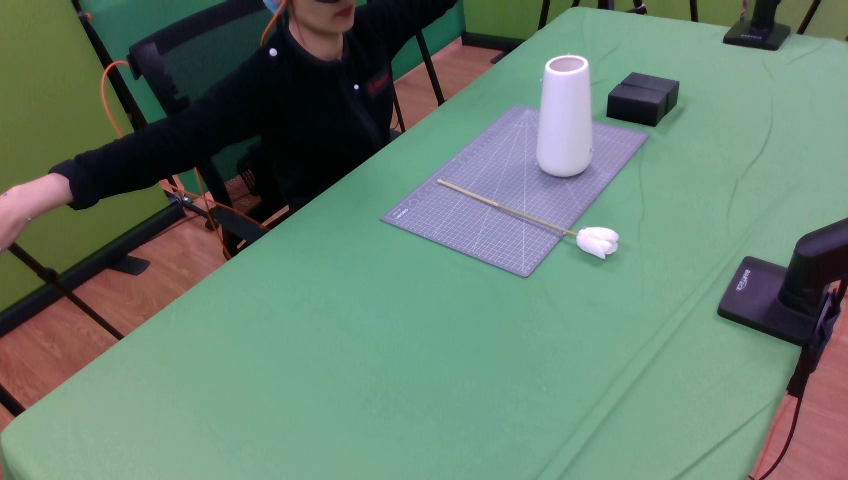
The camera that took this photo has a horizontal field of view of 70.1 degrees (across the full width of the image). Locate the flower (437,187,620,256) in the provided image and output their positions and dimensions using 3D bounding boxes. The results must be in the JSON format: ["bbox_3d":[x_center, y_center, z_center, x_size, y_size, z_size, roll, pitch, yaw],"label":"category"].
[{"bbox_3d":[0.156,-0.045,1.011,0.358,0.038,0.044,22,85,38],"label":"flower"}]

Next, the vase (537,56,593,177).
[{"bbox_3d":[0.245,-0.209,1.040,0.098,0.201,0.097,-4,40,4],"label":"vase"}]
